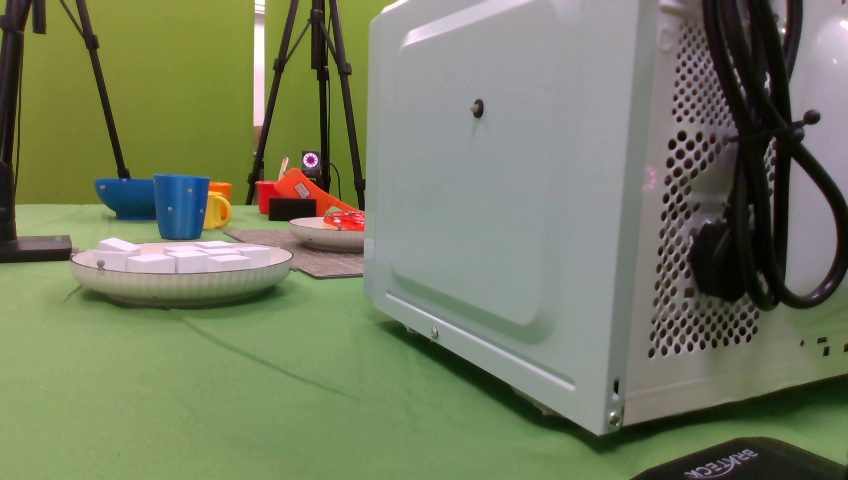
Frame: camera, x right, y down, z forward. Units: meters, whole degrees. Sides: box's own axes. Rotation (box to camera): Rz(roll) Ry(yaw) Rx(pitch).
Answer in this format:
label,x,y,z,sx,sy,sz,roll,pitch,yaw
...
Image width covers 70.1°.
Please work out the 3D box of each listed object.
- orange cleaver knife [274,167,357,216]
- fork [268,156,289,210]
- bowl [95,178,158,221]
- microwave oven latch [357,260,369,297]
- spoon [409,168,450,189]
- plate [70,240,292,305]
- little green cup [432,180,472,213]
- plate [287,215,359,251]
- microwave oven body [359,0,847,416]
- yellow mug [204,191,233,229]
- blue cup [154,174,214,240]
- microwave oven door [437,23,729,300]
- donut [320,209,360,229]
label,x,y,z,sx,sy,sz,roll,pitch,yaw
orange cleaver knife,-0.238,-0.091,1.381,0.212,0.077,0.012,31,0,-19
fork,-0.360,-0.144,1.508,0.028,0.018,0.207,1,49,0
bowl,-0.576,-0.081,1.217,0.151,0.077,0.151,3,8,0
microwave oven latch,-0.019,0.033,0.531,0.079,0.029,0.030,-1,7,-27
spoon,0.003,-0.114,1.069,0.042,0.021,0.193,-15,21,-12
plate,-0.242,0.031,0.618,0.208,0.039,0.207,2,8,0
little green cup,0.048,-0.070,0.977,0.061,0.038,0.061,-19,1,1
plate,-0.112,-0.012,0.960,0.209,0.038,0.209,3,8,0
microwave oven body,0.211,-0.047,0.474,0.444,0.260,0.324,-1,8,-28
yellow mug,-0.415,-0.057,1.132,0.130,0.064,0.100,6,8,16
blue cup,-0.390,-0.053,0.978,0.093,0.100,0.092,3,6,0
microwave oven door,0.181,-0.072,0.621,0.358,0.243,0.039,-2,8,-29
donut,-0.115,-0.023,0.962,0.099,0.048,0.099,5,9,0
